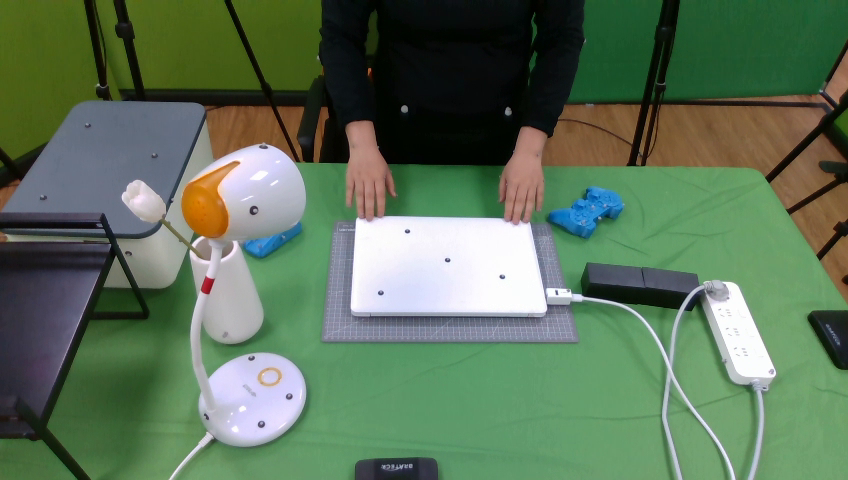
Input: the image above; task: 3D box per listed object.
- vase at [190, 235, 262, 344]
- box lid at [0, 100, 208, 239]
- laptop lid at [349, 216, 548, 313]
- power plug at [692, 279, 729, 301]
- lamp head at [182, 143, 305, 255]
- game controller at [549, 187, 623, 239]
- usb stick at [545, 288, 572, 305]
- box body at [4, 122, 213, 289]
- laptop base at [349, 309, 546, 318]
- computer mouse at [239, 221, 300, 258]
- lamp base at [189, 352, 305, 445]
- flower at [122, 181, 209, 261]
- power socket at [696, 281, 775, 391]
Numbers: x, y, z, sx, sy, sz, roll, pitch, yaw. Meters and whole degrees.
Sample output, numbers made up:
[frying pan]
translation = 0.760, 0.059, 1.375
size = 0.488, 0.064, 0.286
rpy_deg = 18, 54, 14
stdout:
[vase]
translation = -0.317, 0.081, 0.971
size = 0.098, 0.201, 0.097
rpy_deg = 3, 47, -3
[box lid]
translation = -0.559, -0.138, 1.085
size = 0.263, 0.015, 0.369
rpy_deg = 2, 46, -2
[laptop lid]
translation = 0.042, 0.040, 1.136
size = 0.357, 0.013, 0.240
rpy_deg = 2, 48, -3
[power plug]
translation = 0.522, 0.092, 1.115
size = 0.072, 0.053, 0.035
rpy_deg = 8, 46, 7
[lamp head]
translation = -0.216, -0.044, 0.697
size = 0.112, 0.113, 0.123
rpy_deg = 23, 31, 17
[game controller]
translation = 0.345, -0.065, 1.272
size = 0.155, 0.052, 0.096
rpy_deg = -31, 58, -29
[usb stick]
translation = 0.236, 0.103, 1.101
size = 0.059, 0.027, 0.021
rpy_deg = 0, 49, 1
[box body]
translation = -0.563, -0.088, 1.139
size = 0.254, 0.161, 0.361
rpy_deg = 2, 46, -3
[laptop base]
translation = 0.040, 0.056, 1.149
size = 0.355, 0.023, 0.234
rpy_deg = 1, 42, -4
[computer mouse]
translation = -0.301, -0.016, 1.178
size = 0.062, 0.041, 0.117
rpy_deg = 35, 57, 22
[lamp base]
translation = -0.268, 0.196, 0.876
size = 0.160, 0.181, 0.179
rpy_deg = 25, 52, 20
[flower]
translation = -0.329, 0.029, 0.905
size = 0.038, 0.364, 0.044
rpy_deg = -21, 58, -1
[power socket]
translation = 0.550, 0.160, 1.078
size = 0.072, 0.033, 0.225
rpy_deg = 2, 46, -1
